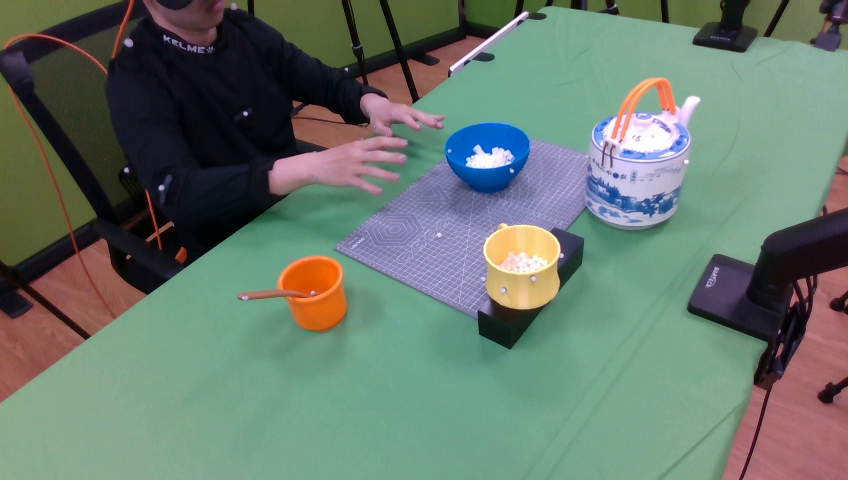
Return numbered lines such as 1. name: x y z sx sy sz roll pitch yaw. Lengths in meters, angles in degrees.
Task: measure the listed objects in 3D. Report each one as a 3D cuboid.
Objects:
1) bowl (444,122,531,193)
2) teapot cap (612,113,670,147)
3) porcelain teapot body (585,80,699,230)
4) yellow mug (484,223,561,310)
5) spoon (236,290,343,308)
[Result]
1. bowl: 0.112 -0.136 1.063 0.151 0.077 0.150 -4 41 4
2. teapot cap: 0.323 -0.166 0.900 0.085 0.044 0.085 -3 38 3
3. porcelain teapot body: 0.350 -0.149 0.936 0.206 0.226 0.144 -30 45 -25
4. yellow mug: 0.126 0.025 0.811 0.100 0.064 0.130 -16 39 -9
5. spoon: -0.176 0.076 0.808 0.041 0.195 0.021 24 94 30
